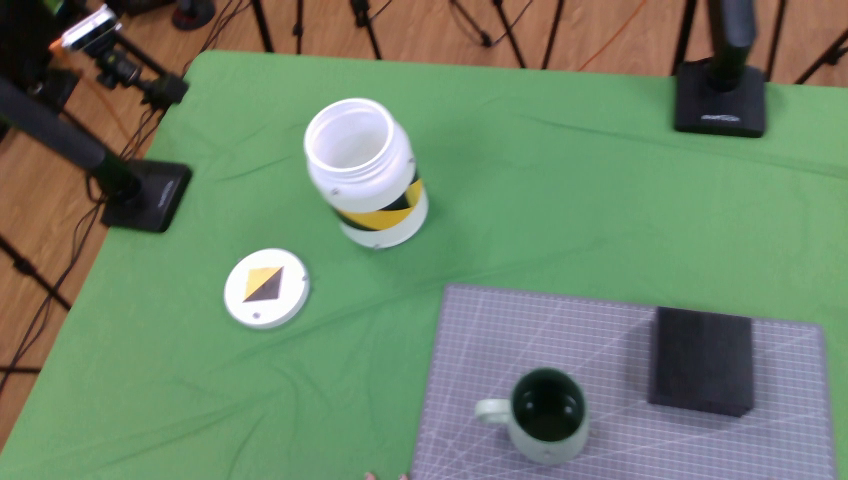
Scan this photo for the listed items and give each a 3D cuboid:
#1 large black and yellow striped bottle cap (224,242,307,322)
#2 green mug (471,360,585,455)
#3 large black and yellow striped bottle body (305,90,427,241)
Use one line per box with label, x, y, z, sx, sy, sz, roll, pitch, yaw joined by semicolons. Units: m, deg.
large black and yellow striped bottle cap;-0.219;0.056;0.838;0.115;0.019;0.114;-4;62;8
green mug;0.114;0.183;0.663;0.125;0.106;0.092;-2;64;10
large black and yellow striped bottle body;-0.073;-0.094;0.790;0.130;0.185;0.129;-4;63;8
